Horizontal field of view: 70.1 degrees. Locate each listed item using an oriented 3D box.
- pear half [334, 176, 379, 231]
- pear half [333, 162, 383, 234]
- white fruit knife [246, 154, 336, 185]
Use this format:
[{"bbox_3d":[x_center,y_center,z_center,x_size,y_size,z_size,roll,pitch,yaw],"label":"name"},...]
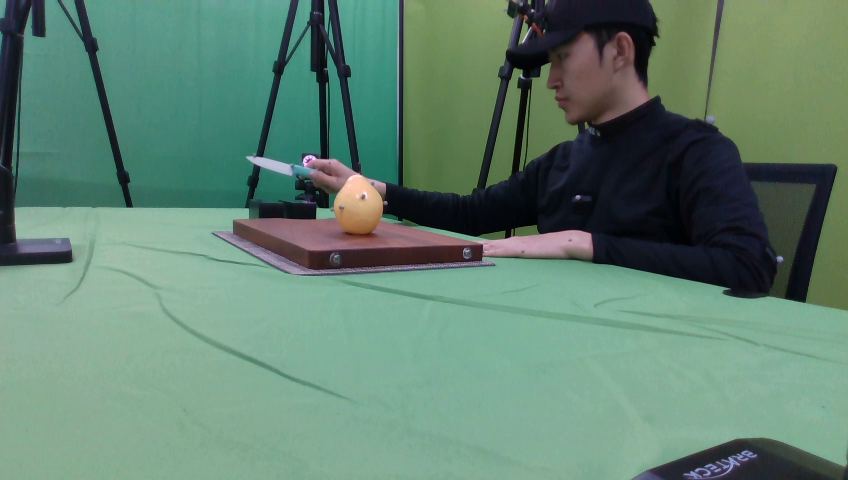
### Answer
[{"bbox_3d":[-0.109,-0.059,0.953,0.071,0.088,0.031,-8,12,-21],"label":"pear half"},{"bbox_3d":[-0.098,-0.063,0.918,0.076,0.110,0.055,-5,10,-20],"label":"pear half"},{"bbox_3d":[-0.280,-0.153,1.292,0.208,0.027,0.016,12,-8,-37],"label":"white fruit knife"}]
